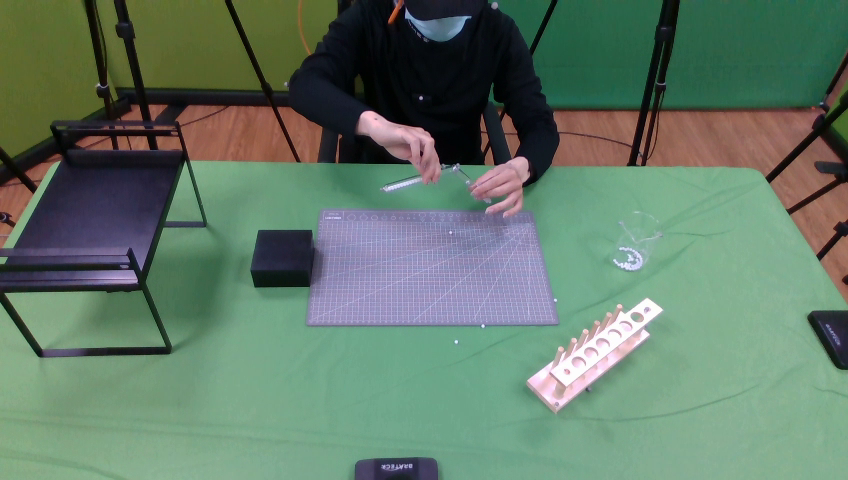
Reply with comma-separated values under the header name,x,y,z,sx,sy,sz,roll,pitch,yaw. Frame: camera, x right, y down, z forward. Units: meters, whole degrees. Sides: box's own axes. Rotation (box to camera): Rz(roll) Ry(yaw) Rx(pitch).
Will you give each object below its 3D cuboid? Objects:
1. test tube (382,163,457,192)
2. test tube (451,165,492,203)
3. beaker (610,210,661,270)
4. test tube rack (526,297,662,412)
name,x,y,z,sx,sy,sz,roll,pitch,yaw
test tube,-0.007,-0.114,1.097,0.150,0.017,0.017,-19,51,-23
test tube,0.095,-0.107,1.184,0.017,0.151,0.017,-15,61,29
beaker,0.404,0.005,1.170,0.074,0.101,0.083,19,49,15
test tube rack,0.284,0.176,1.007,0.242,0.085,0.066,-29,54,-27
